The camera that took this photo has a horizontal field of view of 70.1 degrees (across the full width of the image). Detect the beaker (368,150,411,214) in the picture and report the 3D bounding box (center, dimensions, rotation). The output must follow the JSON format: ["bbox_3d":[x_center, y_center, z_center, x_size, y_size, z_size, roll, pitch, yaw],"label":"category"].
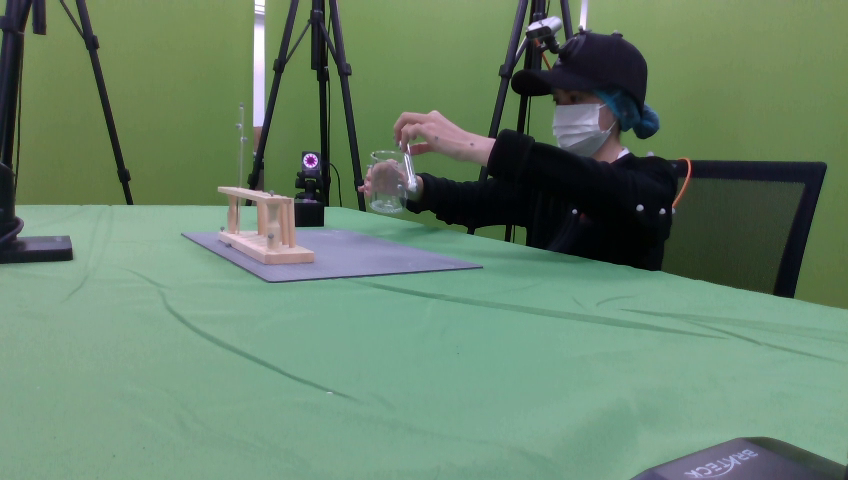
[{"bbox_3d":[-0.063,-0.103,1.089,0.074,0.100,0.083,-4,24,-22],"label":"beaker"}]

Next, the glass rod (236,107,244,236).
[{"bbox_3d":[-0.282,-0.103,0.924,0.008,0.199,0.008,2,2,0],"label":"glass rod"}]

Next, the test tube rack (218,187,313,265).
[{"bbox_3d":[-0.235,-0.027,0.872,0.067,0.085,0.241,-2,8,-32],"label":"test tube rack"}]

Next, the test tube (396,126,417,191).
[{"bbox_3d":[-0.028,-0.131,0.958,0.017,0.017,0.149,1,46,-13],"label":"test tube"}]
